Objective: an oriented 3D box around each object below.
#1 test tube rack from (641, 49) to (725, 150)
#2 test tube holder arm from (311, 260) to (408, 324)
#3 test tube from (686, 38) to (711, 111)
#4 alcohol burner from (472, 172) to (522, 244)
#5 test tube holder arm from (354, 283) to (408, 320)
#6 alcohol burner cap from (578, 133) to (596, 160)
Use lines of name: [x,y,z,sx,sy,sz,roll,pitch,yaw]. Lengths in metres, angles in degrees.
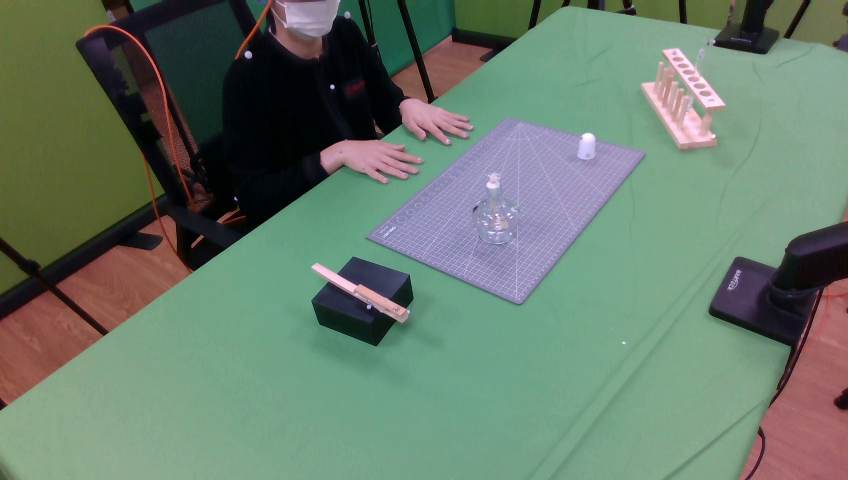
test tube rack: [0.495,-0.279,1.175,0.067,0.085,0.241,-5,41,3]
test tube holder arm: [-0.092,0.069,0.832,0.177,0.013,0.015,26,52,32]
test tube: [0.508,-0.305,1.128,0.017,0.151,0.017,-2,46,3]
alcohol burner: [0.112,-0.053,0.942,0.078,0.119,0.077,-6,40,6]
test tube holder arm: [-0.059,0.081,0.805,0.087,0.010,0.015,26,52,32]
alcohol burner cap: [0.301,-0.174,1.111,0.034,0.048,0.033,-5,40,4]
